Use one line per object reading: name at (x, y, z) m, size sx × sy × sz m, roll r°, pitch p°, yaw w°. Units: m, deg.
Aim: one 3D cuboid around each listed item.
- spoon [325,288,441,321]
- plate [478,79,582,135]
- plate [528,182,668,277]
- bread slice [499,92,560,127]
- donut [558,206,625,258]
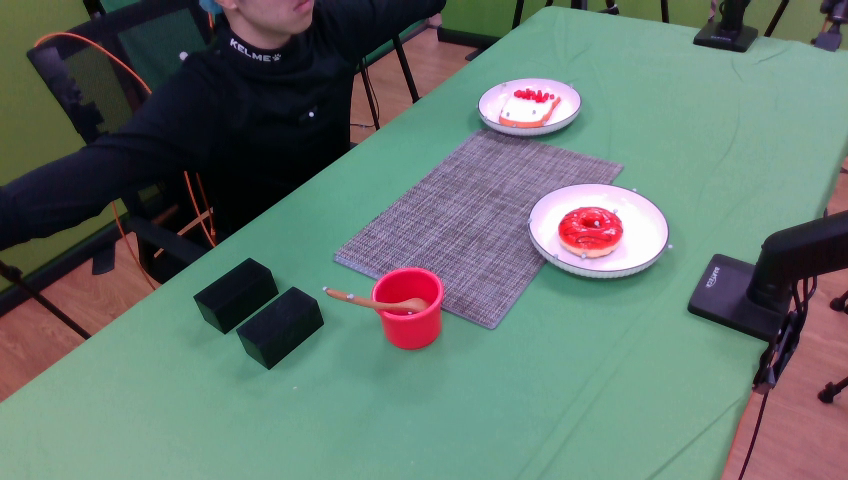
spoon at (-0.047, 0.084, 0.776) m, size 0.195 × 0.021 × 0.041 m, roll 12°, pitch 27°, yaw -42°
plate at (0.216, -0.268, 1.239) m, size 0.209 × 0.038 × 0.208 m, roll -4°, pitch 40°, yaw 4°
plate at (0.264, -0.014, 0.933) m, size 0.207 × 0.039 × 0.206 m, roll -3°, pitch 42°, yaw 3°
bread slice at (0.214, -0.268, 1.243) m, size 0.104 × 0.019 × 0.131 m, roll 12°, pitch 43°, yaw 21°
donut at (0.254, -0.015, 0.917) m, size 0.099 × 0.048 × 0.098 m, roll -5°, pitch 41°, yaw 5°
